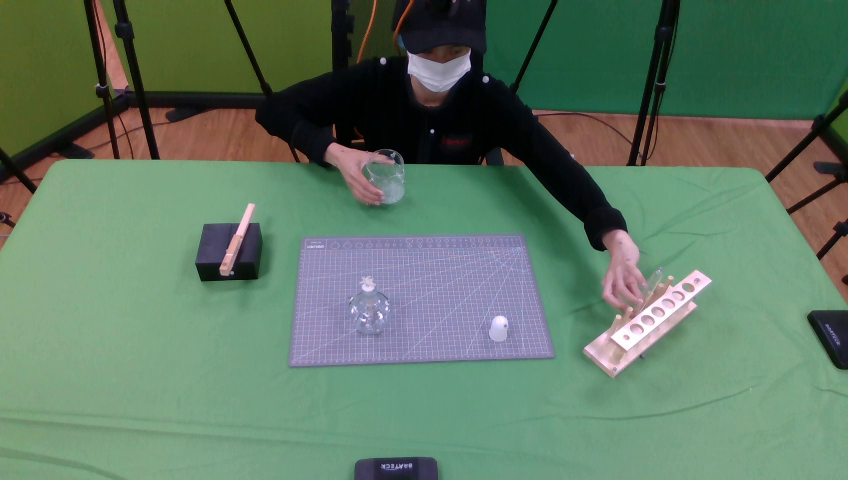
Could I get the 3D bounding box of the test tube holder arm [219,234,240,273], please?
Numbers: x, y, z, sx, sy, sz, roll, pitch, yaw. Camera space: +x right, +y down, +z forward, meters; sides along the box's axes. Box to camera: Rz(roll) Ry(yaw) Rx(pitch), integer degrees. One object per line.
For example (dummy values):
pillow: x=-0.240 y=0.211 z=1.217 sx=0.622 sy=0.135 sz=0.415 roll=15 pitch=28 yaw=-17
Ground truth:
test tube holder arm: x=-0.344 y=0.023 z=1.076 sx=0.015 sy=0.010 sz=0.087 roll=5 pitch=45 yaw=2

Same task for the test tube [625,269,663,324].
test tube: x=0.370 y=0.099 z=1.024 sx=0.017 sy=0.151 sz=0.017 roll=3 pitch=48 yaw=-4

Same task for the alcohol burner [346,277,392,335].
alcohol burner: x=-0.093 y=0.106 z=1.021 sx=0.078 sy=0.120 sz=0.077 roll=1 pitch=46 yaw=-1

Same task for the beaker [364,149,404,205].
beaker: x=-0.076 y=-0.124 z=1.233 sx=0.084 sy=0.101 sz=0.074 roll=27 pitch=63 yaw=16

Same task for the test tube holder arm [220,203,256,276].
test tube holder arm: x=-0.340 y=-0.005 z=1.112 sx=0.015 sy=0.013 sz=0.177 roll=5 pitch=46 yaw=2

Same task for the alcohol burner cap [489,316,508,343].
alcohol burner cap: x=0.130 y=0.151 z=1.045 sx=0.034 sy=0.048 sz=0.033 roll=2 pitch=46 yaw=-2

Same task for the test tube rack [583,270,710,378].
test tube rack: x=0.389 y=0.133 z=1.057 sx=0.242 sy=0.085 sz=0.066 roll=-29 pitch=54 yaw=-28
